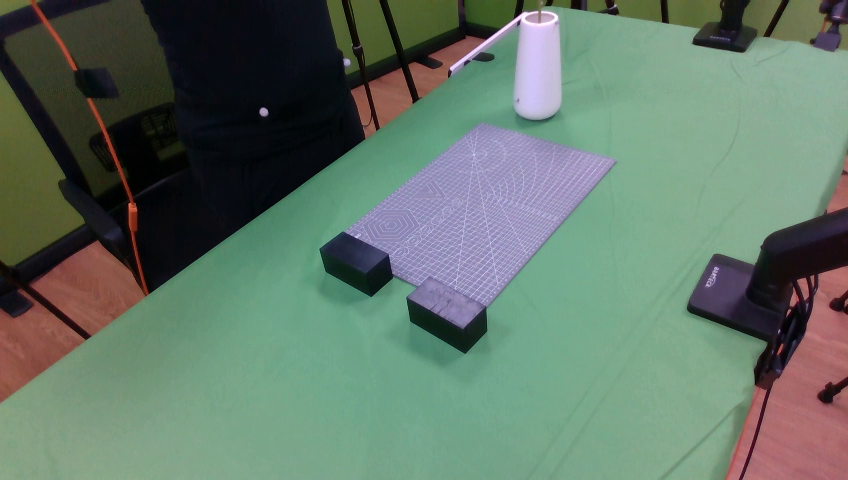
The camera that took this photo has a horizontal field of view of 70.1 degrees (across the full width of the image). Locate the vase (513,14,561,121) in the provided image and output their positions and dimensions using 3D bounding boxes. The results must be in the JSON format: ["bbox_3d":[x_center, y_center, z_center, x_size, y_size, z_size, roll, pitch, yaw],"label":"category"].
[{"bbox_3d":[0.225,-0.336,1.196,0.098,0.201,0.097,-5,42,5],"label":"vase"}]

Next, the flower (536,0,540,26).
[{"bbox_3d":[0.213,-0.386,1.130,0.044,0.363,0.038,11,62,14],"label":"flower"}]
